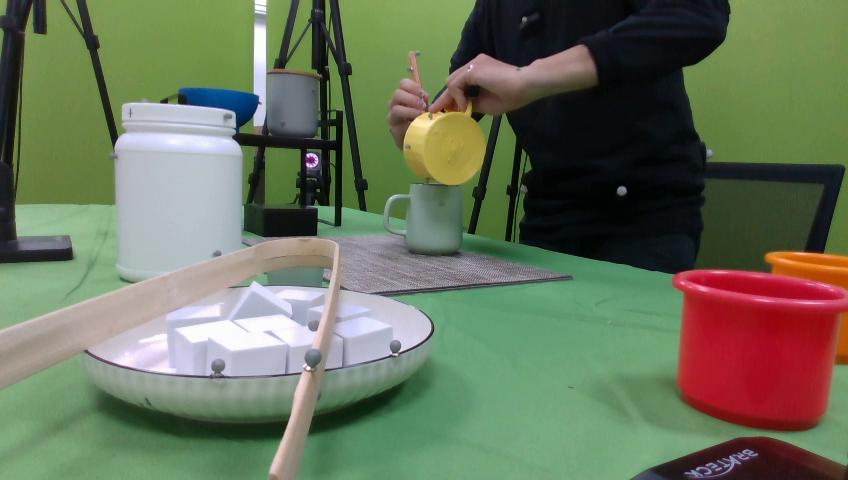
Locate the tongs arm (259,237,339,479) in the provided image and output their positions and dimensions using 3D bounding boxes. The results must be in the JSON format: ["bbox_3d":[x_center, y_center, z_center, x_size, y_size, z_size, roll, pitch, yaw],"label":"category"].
[{"bbox_3d":[-0.074,0.040,0.345,0.051,0.026,0.384,-1,9,-3],"label":"tongs arm"}]

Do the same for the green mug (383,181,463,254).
[{"bbox_3d":[-0.001,-0.036,0.921,0.126,0.105,0.092,0,8,-16],"label":"green mug"}]

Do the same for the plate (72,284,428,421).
[{"bbox_3d":[-0.102,0.066,0.380,0.208,0.039,0.207,3,7,0],"label":"plate"}]

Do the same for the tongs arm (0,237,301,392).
[{"bbox_3d":[-0.158,0.038,0.346,0.028,0.028,0.388,-3,8,11],"label":"tongs arm"}]

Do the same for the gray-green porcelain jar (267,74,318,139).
[{"bbox_3d":[-0.277,-0.279,1.280,0.106,0.126,0.106,2,7,0],"label":"gray-green porcelain jar"}]

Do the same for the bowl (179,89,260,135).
[{"bbox_3d":[-0.400,-0.248,1.188,0.151,0.077,0.151,2,7,0],"label":"bowl"}]

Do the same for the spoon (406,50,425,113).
[{"bbox_3d":[-0.004,-0.191,0.879,0.041,0.193,0.021,-13,-18,0],"label":"spoon"}]

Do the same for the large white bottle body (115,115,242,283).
[{"bbox_3d":[-0.270,-0.051,0.673,0.131,0.184,0.130,2,8,0],"label":"large white bottle body"}]

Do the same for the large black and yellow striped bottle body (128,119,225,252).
[{"bbox_3d":[-0.361,-0.081,0.887,0.131,0.184,0.130,2,8,0],"label":"large black and yellow striped bottle body"}]

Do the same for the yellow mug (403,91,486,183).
[{"bbox_3d":[0.034,-0.148,0.854,0.100,0.130,0.063,20,4,-30],"label":"yellow mug"}]

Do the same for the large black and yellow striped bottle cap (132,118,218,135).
[{"bbox_3d":[-0.359,-0.164,0.875,0.115,0.019,0.115,2,6,0],"label":"large black and yellow striped bottle cap"}]

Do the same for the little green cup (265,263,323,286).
[{"bbox_3d":[-0.134,0.034,0.628,0.061,0.038,0.061,3,7,0],"label":"little green cup"}]

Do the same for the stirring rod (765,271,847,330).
[{"bbox_3d":[0.352,0.020,0.481,0.176,0.006,0.014,-40,-7,17],"label":"stirring rod"}]

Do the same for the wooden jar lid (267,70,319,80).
[{"bbox_3d":[-0.275,-0.340,1.271,0.108,0.020,0.108,5,6,0],"label":"wooden jar lid"}]

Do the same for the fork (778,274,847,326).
[{"bbox_3d":[0.332,0.018,0.443,0.028,0.018,0.207,-3,-35,-16],"label":"fork"}]

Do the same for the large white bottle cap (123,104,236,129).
[{"bbox_3d":[-0.266,-0.134,0.663,0.115,0.018,0.115,3,7,0],"label":"large white bottle cap"}]
